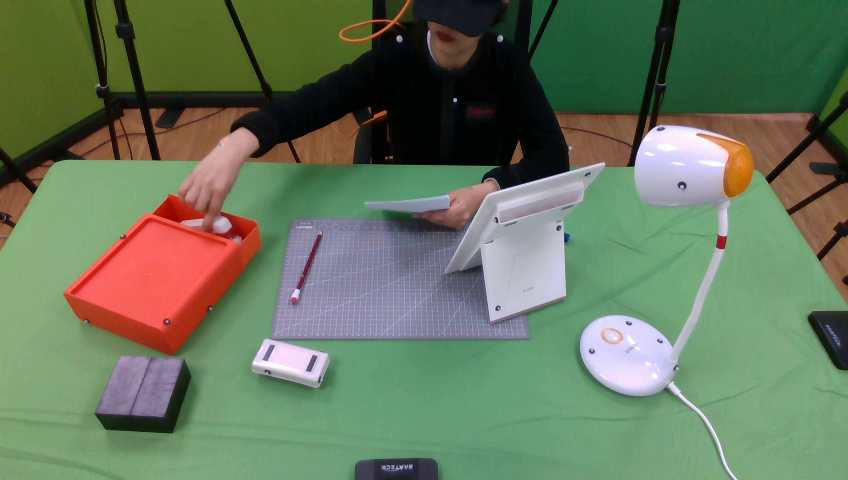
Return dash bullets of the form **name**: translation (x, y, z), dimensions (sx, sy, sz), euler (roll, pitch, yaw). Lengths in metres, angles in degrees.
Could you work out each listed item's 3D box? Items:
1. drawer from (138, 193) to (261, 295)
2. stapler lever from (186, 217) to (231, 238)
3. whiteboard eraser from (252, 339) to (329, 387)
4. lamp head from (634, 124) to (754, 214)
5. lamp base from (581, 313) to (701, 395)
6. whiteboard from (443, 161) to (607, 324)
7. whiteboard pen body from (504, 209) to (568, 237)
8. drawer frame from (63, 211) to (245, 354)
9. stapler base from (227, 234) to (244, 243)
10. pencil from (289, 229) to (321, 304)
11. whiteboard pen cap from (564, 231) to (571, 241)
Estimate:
- **drawer**: translation (-0.437, 0.027, 1.098), dimensions (0.194, 0.073, 0.211), euler (18, 48, 11)
- **stapler lever**: translation (-0.410, -0.024, 1.128), dimensions (0.118, 0.040, 0.026), euler (4, 42, 24)
- **whiteboard eraser**: translation (-0.215, 0.199, 0.976), dimensions (0.112, 0.042, 0.055), euler (12, 45, 7)
- **lamp head**: translation (0.351, -0.089, 0.776), dimensions (0.112, 0.113, 0.122), euler (-30, 30, -28)
- **lamp base**: translation (0.361, 0.144, 0.973), dimensions (0.178, 0.181, 0.160), euler (34, 53, 23)
- **whiteboard**: translation (0.185, 0.026, 1.028), dimensions (0.217, 0.306, 0.143), euler (-15, 68, -18)
- **whiteboard pen body**: translation (0.230, -0.034, 1.248), dimensions (0.140, 0.017, 0.017), euler (23, 49, 17)
- **drawer frame**: translation (-0.459, 0.067, 1.055), dimensions (0.201, 0.083, 0.212), euler (17, 48, 11)
- **stapler base**: translation (-0.403, -0.004, 1.145), dimensions (0.130, 0.024, 0.041), euler (6, 43, 22)
- **pencil**: translation (-0.221, 0.045, 1.141), dimensions (0.012, 0.012, 0.193), euler (8, 44, 4)
- **whiteboard pen cap**: translation (0.281, -0.011, 1.230), dimensions (0.033, 0.018, 0.018), euler (25, 50, 16)
